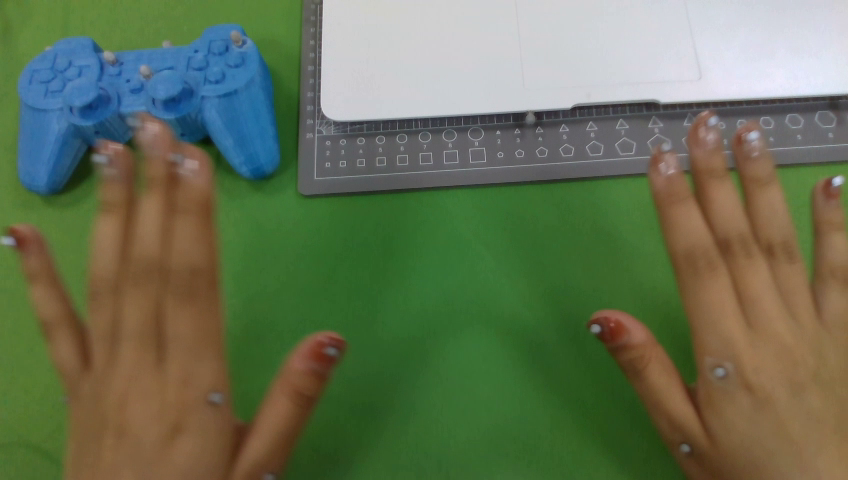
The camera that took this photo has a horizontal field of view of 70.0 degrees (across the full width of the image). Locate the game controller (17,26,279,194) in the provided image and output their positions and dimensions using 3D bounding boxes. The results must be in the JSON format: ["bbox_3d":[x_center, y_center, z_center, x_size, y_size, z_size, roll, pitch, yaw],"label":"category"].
[{"bbox_3d":[-0.165,-0.082,0.362,0.155,0.052,0.096,-3,65,1],"label":"game controller"}]

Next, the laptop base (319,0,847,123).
[{"bbox_3d":[0.109,-0.185,0.403,0.354,0.023,0.234,-3,72,1],"label":"laptop base"}]
